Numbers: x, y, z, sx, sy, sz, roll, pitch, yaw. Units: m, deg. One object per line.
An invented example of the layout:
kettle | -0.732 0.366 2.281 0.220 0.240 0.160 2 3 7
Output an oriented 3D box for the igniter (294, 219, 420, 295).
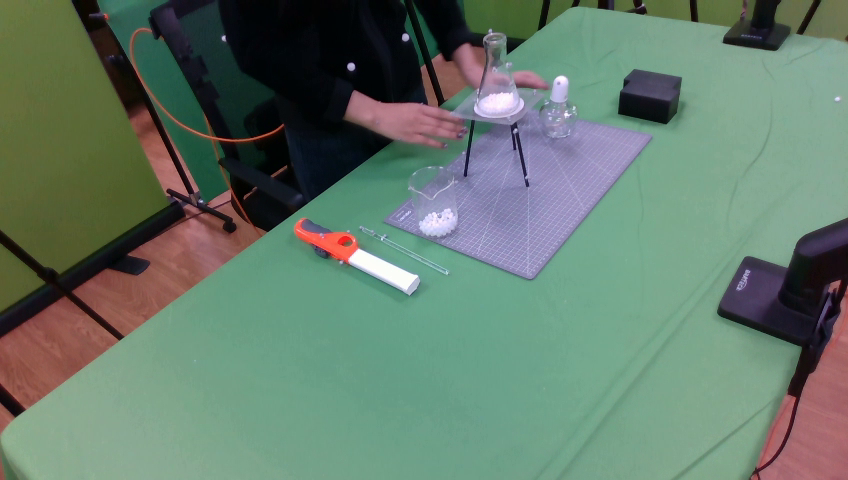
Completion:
igniter | -0.118 0.022 0.977 0.274 0.025 0.057 24 60 34

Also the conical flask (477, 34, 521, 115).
conical flask | 0.121 -0.275 0.999 0.075 0.122 0.075 -5 40 5

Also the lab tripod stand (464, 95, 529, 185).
lab tripod stand | 0.138 -0.182 1.082 0.148 0.132 0.147 -6 38 5

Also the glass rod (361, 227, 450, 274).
glass rod | -0.034 0.015 0.985 0.198 0.008 0.008 26 52 34

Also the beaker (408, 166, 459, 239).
beaker | 0.018 -0.057 0.984 0.074 0.101 0.083 -6 41 5

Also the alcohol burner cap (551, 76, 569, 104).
alcohol burner cap | 0.258 -0.285 1.140 0.034 0.048 0.033 -2 47 2

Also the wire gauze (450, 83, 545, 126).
wire gauze | 0.126 -0.232 1.041 0.120 0.011 0.125 17 48 31

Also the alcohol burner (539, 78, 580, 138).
alcohol burner | 0.261 -0.259 1.164 0.078 0.119 0.077 -5 42 4
